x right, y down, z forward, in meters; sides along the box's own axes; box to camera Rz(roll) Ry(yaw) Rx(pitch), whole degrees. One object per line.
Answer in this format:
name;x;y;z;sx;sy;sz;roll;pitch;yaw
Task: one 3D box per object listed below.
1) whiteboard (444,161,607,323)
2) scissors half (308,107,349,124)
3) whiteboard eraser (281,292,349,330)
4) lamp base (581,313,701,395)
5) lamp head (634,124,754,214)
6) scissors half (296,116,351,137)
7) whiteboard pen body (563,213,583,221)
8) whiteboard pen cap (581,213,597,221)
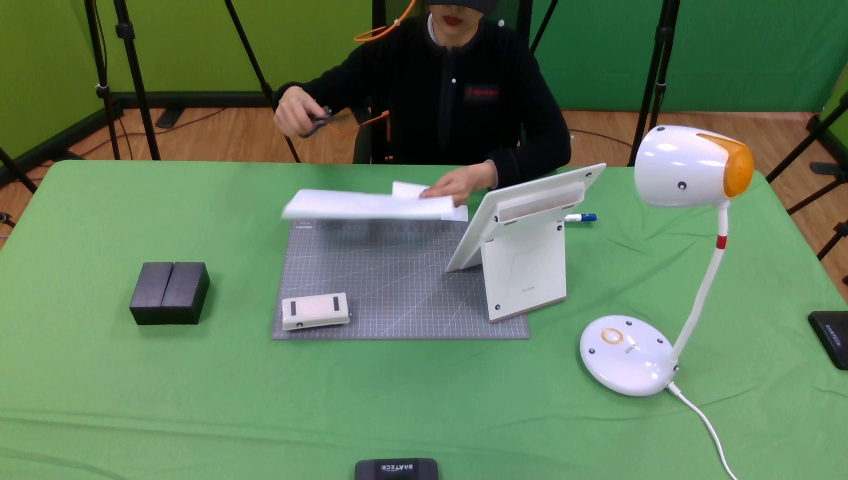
whiteboard;0.186;0.025;1.029;0.217;0.306;0.143;-14;68;-18
scissors half;-0.179;-0.233;1.151;0.040;0.013;0.174;-45;32;-11
whiteboard eraser;-0.189;0.124;1.045;0.113;0.042;0.055;-6;46;-10
lamp base;0.361;0.144;0.973;0.178;0.181;0.160;34;53;23
lamp head;0.351;-0.089;0.775;0.112;0.113;0.122;-30;30;-28
scissors half;-0.191;-0.217;1.145;0.174;0.013;0.040;-2;52;45
whiteboard pen body;0.283;-0.047;1.257;0.141;0.017;0.017;-1;46;-2
whiteboard pen cap;0.342;-0.048;1.260;0.033;0.018;0.018;-3;46;-3
